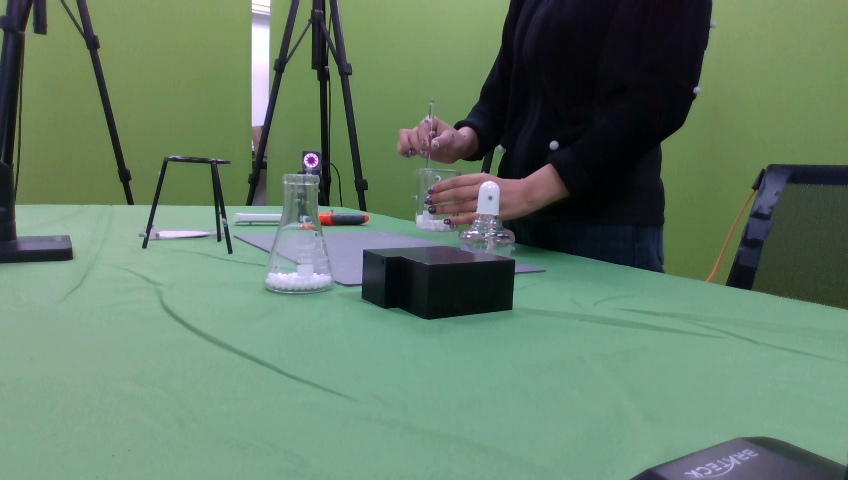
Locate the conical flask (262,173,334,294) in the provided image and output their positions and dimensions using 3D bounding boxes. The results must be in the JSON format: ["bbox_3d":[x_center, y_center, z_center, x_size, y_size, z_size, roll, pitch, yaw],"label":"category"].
[{"bbox_3d":[-0.131,-0.009,0.632,0.075,0.122,0.075,2,8,0],"label":"conical flask"}]

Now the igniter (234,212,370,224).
[{"bbox_3d":[-0.247,-0.046,1.253,0.278,0.025,0.057,-1,-3,-27],"label":"igniter"}]

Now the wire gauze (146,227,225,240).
[{"bbox_3d":[-0.400,-0.012,1.019,0.122,0.011,0.124,-1,6,-26],"label":"wire gauze"}]

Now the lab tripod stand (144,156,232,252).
[{"bbox_3d":[-0.325,-0.054,0.881,0.148,0.131,0.148,4,7,0],"label":"lab tripod stand"}]

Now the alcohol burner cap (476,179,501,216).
[{"bbox_3d":[0.086,-0.057,0.801,0.034,0.048,0.034,4,2,0],"label":"alcohol burner cap"}]

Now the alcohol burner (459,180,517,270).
[{"bbox_3d":[0.086,-0.021,0.805,0.078,0.119,0.078,3,9,0],"label":"alcohol burner"}]

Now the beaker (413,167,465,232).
[{"bbox_3d":[0.021,-0.065,0.968,0.084,0.100,0.074,4,5,12],"label":"beaker"}]

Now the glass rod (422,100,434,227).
[{"bbox_3d":[0.006,-0.119,0.948,0.008,0.199,0.008,3,0,0],"label":"glass rod"}]
